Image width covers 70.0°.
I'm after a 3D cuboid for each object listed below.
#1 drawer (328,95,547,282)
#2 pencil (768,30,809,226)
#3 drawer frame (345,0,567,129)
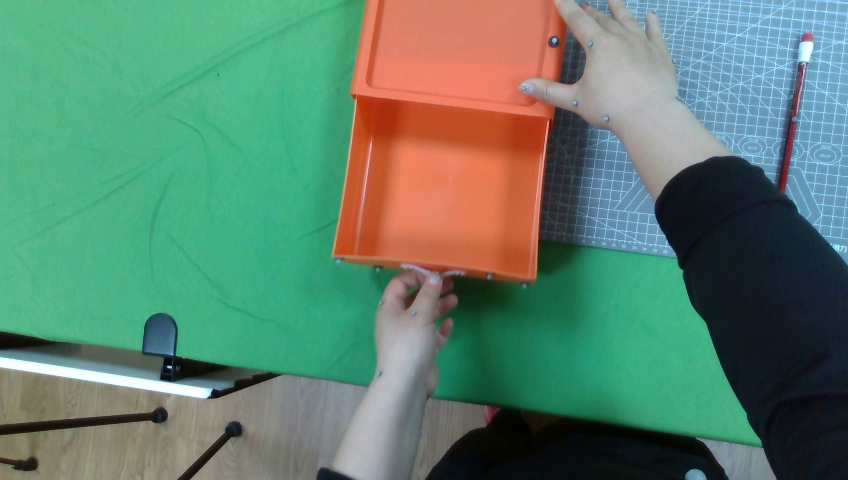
[{"bbox_3d":[0.020,-0.070,0.602,0.194,0.073,0.211,5,82,10],"label":"drawer"},{"bbox_3d":[0.356,-0.109,0.595,0.012,0.012,0.194,10,91,10],"label":"pencil"},{"bbox_3d":[0.040,-0.226,0.612,0.201,0.083,0.213,8,88,10],"label":"drawer frame"}]
